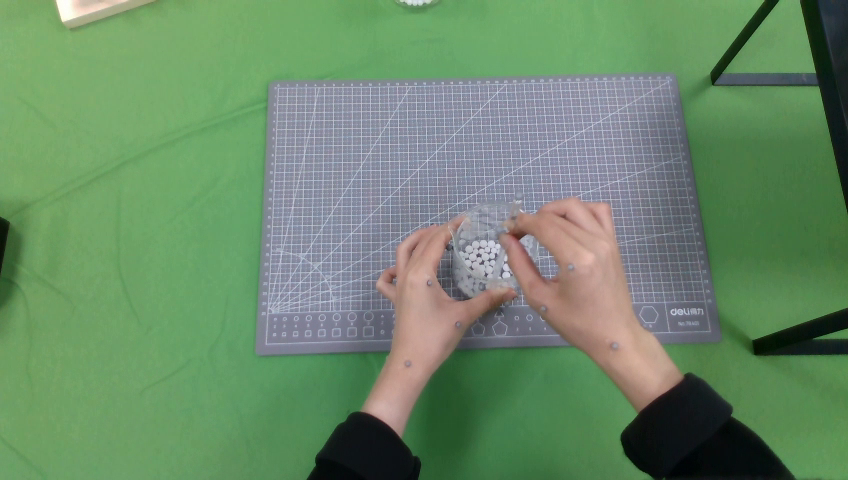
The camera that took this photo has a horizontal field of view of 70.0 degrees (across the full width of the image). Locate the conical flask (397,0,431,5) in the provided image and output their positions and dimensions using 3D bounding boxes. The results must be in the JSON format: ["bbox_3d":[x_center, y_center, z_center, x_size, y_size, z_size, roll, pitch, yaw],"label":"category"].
[{"bbox_3d":[-0.012,-0.321,0.653,0.075,0.122,0.075,0,72,0],"label":"conical flask"}]

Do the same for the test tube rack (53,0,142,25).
[{"bbox_3d":[-0.308,-0.329,0.670,0.242,0.085,0.066,-22,74,-7],"label":"test tube rack"}]

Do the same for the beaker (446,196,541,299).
[{"bbox_3d":[0.058,0.011,0.560,0.084,0.101,0.073,23,73,7],"label":"beaker"}]

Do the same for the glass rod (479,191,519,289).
[{"bbox_3d":[0.059,0.007,0.500,0.008,0.201,0.008,1,68,-1],"label":"glass rod"}]
